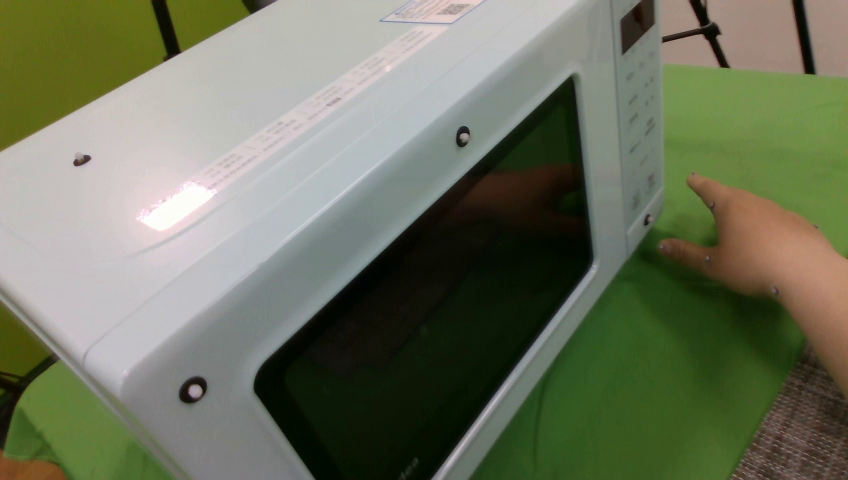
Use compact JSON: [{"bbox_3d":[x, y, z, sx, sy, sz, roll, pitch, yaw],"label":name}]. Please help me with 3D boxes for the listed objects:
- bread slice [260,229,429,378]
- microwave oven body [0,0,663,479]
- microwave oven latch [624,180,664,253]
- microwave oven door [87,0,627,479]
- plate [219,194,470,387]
[{"bbox_3d":[-0.063,0.040,0.499,0.131,0.019,0.104,-41,44,-20],"label":"bread slice"},{"bbox_3d":[-0.057,-0.026,0.484,0.323,0.263,0.441,19,51,38],"label":"microwave oven body"},{"bbox_3d":[0.187,-0.023,0.541,0.030,0.030,0.079,20,52,39],"label":"microwave oven latch"},{"bbox_3d":[0.024,0.031,0.370,0.039,0.246,0.355,18,50,38],"label":"microwave oven door"},{"bbox_3d":[-0.061,0.038,0.493,0.209,0.038,0.207,-12,37,10],"label":"plate"}]
